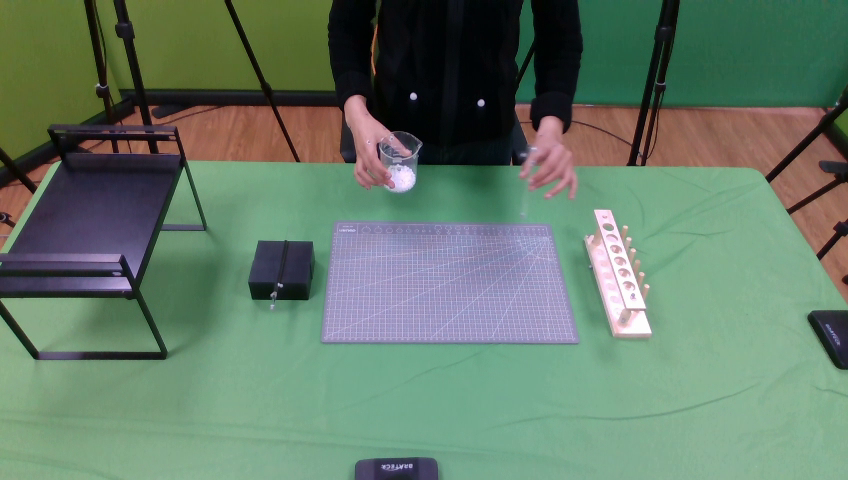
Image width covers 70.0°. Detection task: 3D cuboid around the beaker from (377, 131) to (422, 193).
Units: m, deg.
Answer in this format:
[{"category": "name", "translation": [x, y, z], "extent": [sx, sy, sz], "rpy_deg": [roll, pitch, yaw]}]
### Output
[{"category": "beaker", "translation": [-0.047, -0.145, 1.145], "extent": [0.084, 0.101, 0.073], "rpy_deg": [-14, 55, -14]}]

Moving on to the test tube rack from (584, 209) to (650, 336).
[{"category": "test tube rack", "translation": [0.365, 0.056, 1.129], "extent": [0.067, 0.085, 0.240], "rpy_deg": [1, 46, -4]}]

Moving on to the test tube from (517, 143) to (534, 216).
[{"category": "test tube", "translation": [0.182, -0.106, 1.090], "extent": [0.017, 0.151, 0.017], "rpy_deg": [0, 38, 0]}]

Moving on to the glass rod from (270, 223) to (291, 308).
[{"category": "glass rod", "translation": [-0.255, 0.041, 1.082], "extent": [0.008, 0.008, 0.198], "rpy_deg": [2, 46, -2]}]
